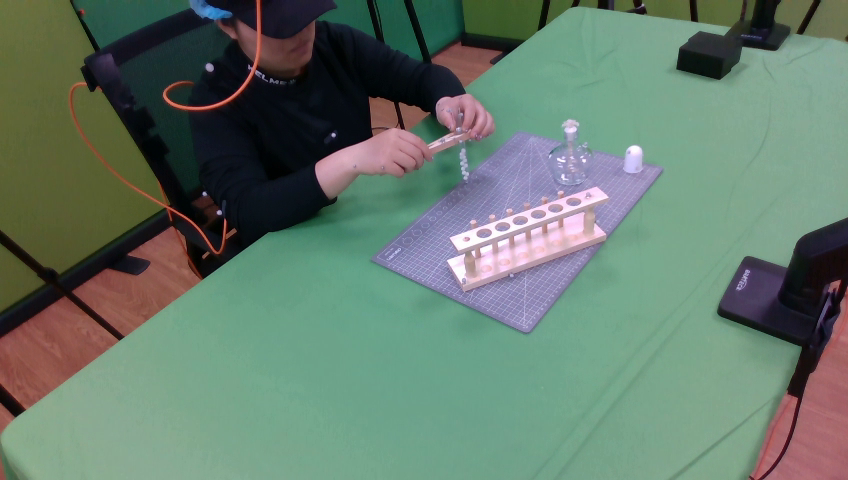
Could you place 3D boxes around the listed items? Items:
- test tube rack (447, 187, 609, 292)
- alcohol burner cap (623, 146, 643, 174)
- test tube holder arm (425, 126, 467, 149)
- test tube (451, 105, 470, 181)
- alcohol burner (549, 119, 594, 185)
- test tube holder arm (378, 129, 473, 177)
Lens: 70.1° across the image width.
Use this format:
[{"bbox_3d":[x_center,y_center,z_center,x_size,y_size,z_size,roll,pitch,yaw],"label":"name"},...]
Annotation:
[{"bbox_3d":[0.155,-0.011,0.913,0.243,0.085,0.066,-19,41,-11],"label":"test tube rack"},{"bbox_3d":[0.369,-0.143,1.061,0.034,0.048,0.033,-7,41,6],"label":"alcohol burner cap"},{"bbox_3d":[0.039,-0.170,1.036,0.088,0.015,0.010,-33,38,-24],"label":"test tube holder arm"},{"bbox_3d":[0.064,-0.165,1.051,0.017,0.151,0.017,-7,40,7],"label":"test tube"},{"bbox_3d":[0.254,-0.155,1.043,0.078,0.120,0.077,-7,40,6],"label":"alcohol burner"},{"bbox_3d":[0.004,-0.147,1.017,0.179,0.015,0.013,-27,35,-16],"label":"test tube holder arm"}]
